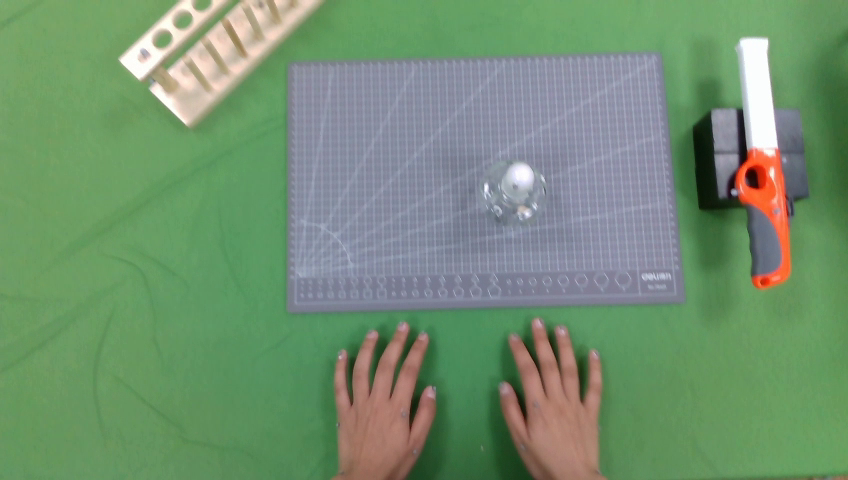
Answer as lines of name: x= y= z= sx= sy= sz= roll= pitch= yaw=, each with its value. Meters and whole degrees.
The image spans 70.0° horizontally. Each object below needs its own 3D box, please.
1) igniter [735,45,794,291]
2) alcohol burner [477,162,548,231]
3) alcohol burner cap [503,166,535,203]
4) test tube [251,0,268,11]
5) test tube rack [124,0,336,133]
igniter: x=0.363 y=-0.081 z=0.653 sx=0.057 sy=0.025 sz=0.275 roll=2 pitch=78 yaw=3
alcohol burner: x=0.098 y=-0.052 z=0.649 sx=0.078 sy=0.119 sz=0.077 roll=0 pitch=78 yaw=-1
alcohol burner cap: x=0.098 y=-0.058 z=0.614 sx=0.034 sy=0.048 sz=0.033 roll=-1 pitch=82 yaw=5
test tube: x=-0.201 y=-0.297 z=0.659 sx=0.017 sy=0.151 sz=0.017 roll=-1 pitch=77 yaw=6
test tube rack: x=-0.215 y=-0.243 z=0.700 sx=0.066 sy=0.085 sz=0.242 roll=43 pitch=83 yaw=8
